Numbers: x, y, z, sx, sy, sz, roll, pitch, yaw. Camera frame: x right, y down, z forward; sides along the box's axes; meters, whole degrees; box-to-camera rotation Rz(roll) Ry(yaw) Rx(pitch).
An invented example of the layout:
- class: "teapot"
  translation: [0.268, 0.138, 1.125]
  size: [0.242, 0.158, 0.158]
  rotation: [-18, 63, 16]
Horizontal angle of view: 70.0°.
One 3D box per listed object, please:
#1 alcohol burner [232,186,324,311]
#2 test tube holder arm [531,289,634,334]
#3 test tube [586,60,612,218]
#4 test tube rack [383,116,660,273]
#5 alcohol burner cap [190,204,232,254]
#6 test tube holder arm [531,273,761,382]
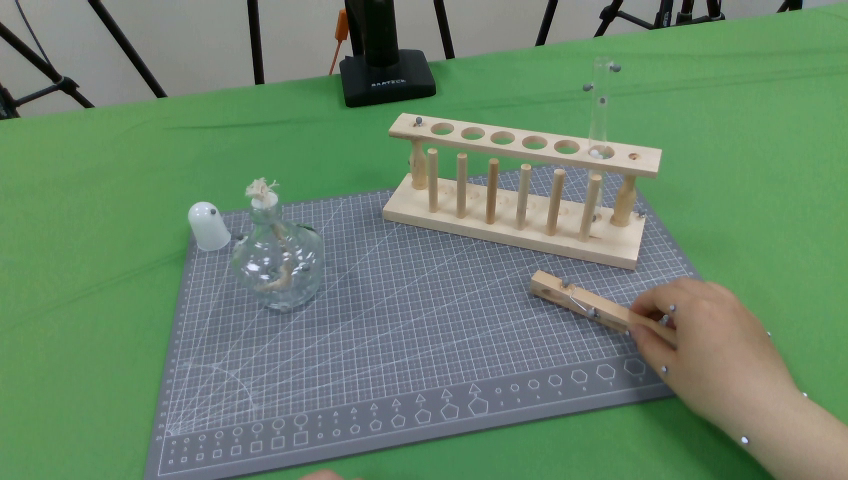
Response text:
- class: "alcohol burner"
  translation: [-0.124, 0.003, 0.504]
  size: [0.078, 0.120, 0.077]
  rotation: [-1, 43, 2]
- class: "test tube holder arm"
  translation: [0.131, 0.055, 0.499]
  size: [0.087, 0.010, 0.015]
  rotation: [18, 52, 30]
- class: "test tube"
  translation: [0.149, -0.081, 0.518]
  size: [0.017, 0.152, 0.017]
  rotation: [-6, 39, 5]
- class: "test tube rack"
  translation: [0.081, -0.046, 0.561]
  size: [0.241, 0.086, 0.066]
  rotation: [12, 45, 18]
- class: "alcohol burner cap"
  translation: [-0.207, -0.014, 0.583]
  size: [0.034, 0.048, 0.033]
  rotation: [-1, 43, 2]
- class: "test tube holder arm"
  translation: [0.167, 0.066, 0.474]
  size: [0.177, 0.013, 0.015]
  rotation: [22, 54, 25]
